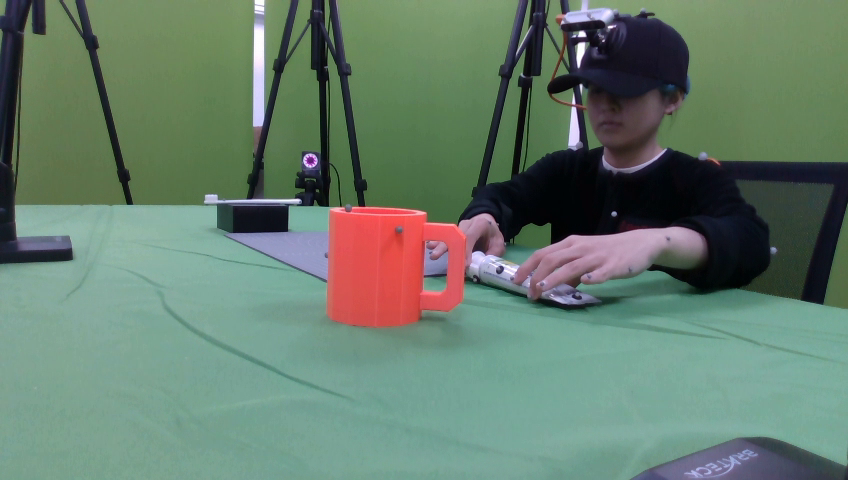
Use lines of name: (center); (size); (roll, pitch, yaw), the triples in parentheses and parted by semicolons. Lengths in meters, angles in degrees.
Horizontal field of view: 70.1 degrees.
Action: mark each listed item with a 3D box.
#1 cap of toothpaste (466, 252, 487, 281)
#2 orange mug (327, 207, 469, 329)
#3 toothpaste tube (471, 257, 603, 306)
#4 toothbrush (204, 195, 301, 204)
cap of toothpaste: (0.065, 0.033, 0.724); (0.037, 0.037, 0.011); (-3, 13, -37)
orange mug: (-0.024, 0.021, 0.535); (0.126, 0.100, 0.083); (-1, 6, 8)
toothpaste tube: (0.111, 0.047, 0.663); (0.055, 0.034, 0.164); (-7, 14, -38)
toothbrush: (-0.314, -0.074, 1.120); (0.183, 0.016, 0.014); (-2, 4, -36)
